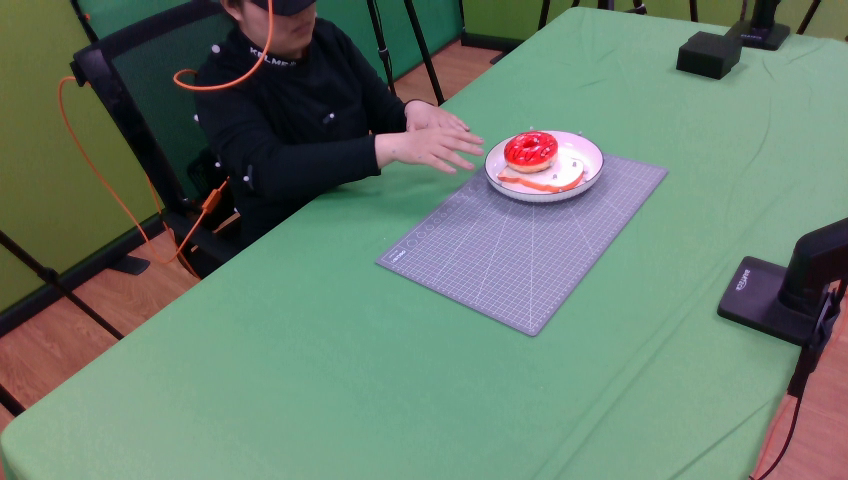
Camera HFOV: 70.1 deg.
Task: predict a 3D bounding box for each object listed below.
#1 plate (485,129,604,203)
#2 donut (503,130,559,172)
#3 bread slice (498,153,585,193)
[{"bbox_3d":[0.213,-0.129,1.079,0.209,0.038,0.208,-5,40,5],"label":"plate"},{"bbox_3d":[0.190,-0.158,1.076,0.099,0.048,0.098,-8,40,8],"label":"donut"},{"bbox_3d":[0.216,-0.125,1.076,0.133,0.018,0.107,16,48,28],"label":"bread slice"}]
